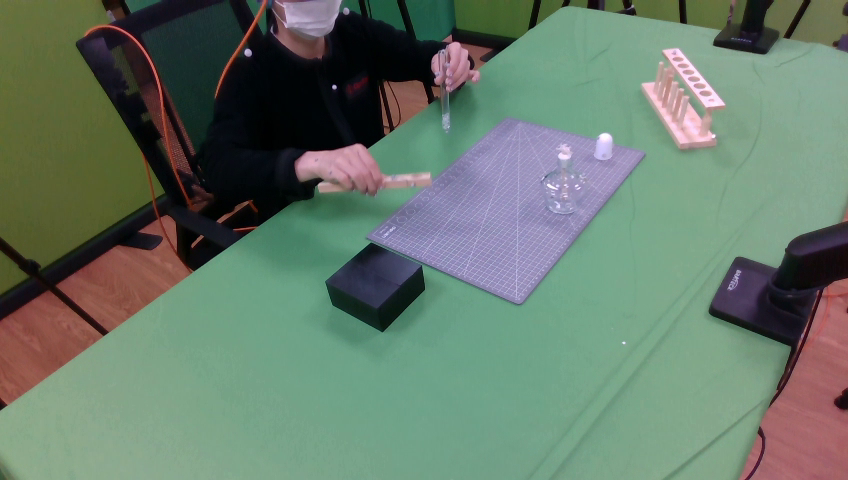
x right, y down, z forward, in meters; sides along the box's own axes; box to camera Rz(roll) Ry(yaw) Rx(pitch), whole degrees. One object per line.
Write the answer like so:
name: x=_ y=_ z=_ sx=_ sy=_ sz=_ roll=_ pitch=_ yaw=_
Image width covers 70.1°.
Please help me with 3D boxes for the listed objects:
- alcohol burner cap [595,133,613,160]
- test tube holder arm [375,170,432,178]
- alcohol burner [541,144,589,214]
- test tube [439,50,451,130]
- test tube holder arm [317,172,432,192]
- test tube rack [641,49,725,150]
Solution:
alcohol burner cap: x=0.330 y=-0.172 z=1.104 sx=0.034 sy=0.048 sz=0.033 roll=-5 pitch=41 yaw=5
test tube holder arm: x=-0.032 y=-0.096 z=0.929 sx=0.088 sy=0.015 sz=0.010 roll=-5 pitch=28 yaw=7
alcohol burner: x=0.229 y=-0.102 z=0.983 sx=0.078 sy=0.119 sz=0.077 roll=-6 pitch=41 yaw=5
test tube: x=0.037 y=-0.261 z=1.066 sx=0.017 sy=0.151 sz=0.017 roll=-3 pitch=42 yaw=3
test tube holder arm: x=-0.077 y=-0.090 z=0.930 sx=0.178 sy=0.015 sz=0.013 roll=-5 pitch=28 yaw=7
test tube rack: x=0.495 y=-0.279 z=1.175 sx=0.067 sy=0.085 sz=0.241 roll=-5 pitch=41 yaw=3
